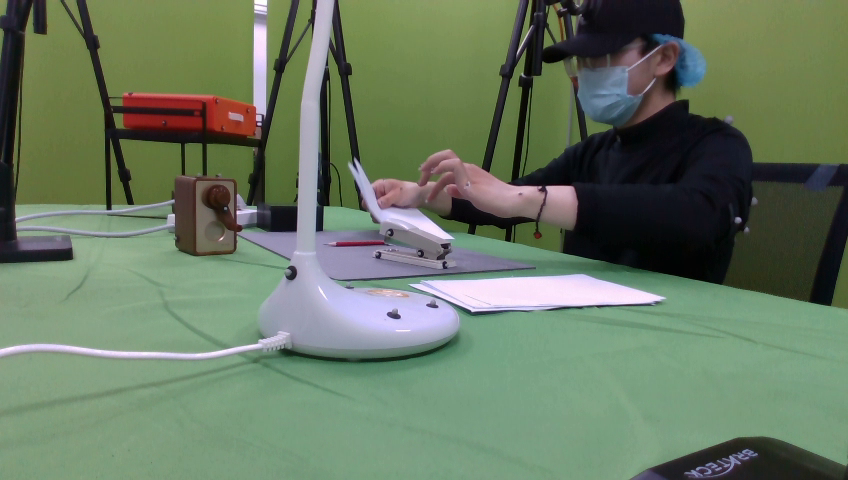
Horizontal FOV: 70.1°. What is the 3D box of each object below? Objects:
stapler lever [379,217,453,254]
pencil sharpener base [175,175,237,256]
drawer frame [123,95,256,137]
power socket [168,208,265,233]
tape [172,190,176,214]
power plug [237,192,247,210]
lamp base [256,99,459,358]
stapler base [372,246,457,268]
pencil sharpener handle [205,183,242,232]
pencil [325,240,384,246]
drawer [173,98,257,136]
[{"bbox_3d":[-0.014,-0.007,0.827,0.117,0.040,0.027,9,12,39],"label":"stapler lever"},{"bbox_3d":[-0.304,-0.036,0.847,0.062,0.107,0.076,-4,10,-42],"label":"pencil sharpener base"},{"bbox_3d":[-0.524,-0.281,1.376,0.213,0.082,0.202,3,8,8],"label":"drawer frame"},{"bbox_3d":[-0.381,-0.038,1.129,0.072,0.032,0.227,4,8,17],"label":"power socket"},{"bbox_3d":[-0.515,-0.087,1.388,0.117,0.052,0.117,3,7,0],"label":"tape"},{"bbox_3d":[-0.386,-0.071,1.204,0.072,0.052,0.035,7,8,26],"label":"power plug"},{"bbox_3d":[-0.055,-0.013,0.463,0.160,0.180,0.180,6,11,27],"label":"lamp base"},{"bbox_3d":[-0.016,0.017,0.831,0.130,0.024,0.041,10,12,39],"label":"stapler base"},{"bbox_3d":[-0.265,-0.043,0.812,0.036,0.068,0.030,-32,28,-35],"label":"pencil sharpener handle"},{"bbox_3d":[-0.066,0.003,0.979,0.195,0.012,0.012,-3,9,-25],"label":"pencil"},{"bbox_3d":[-0.518,-0.279,1.376,0.211,0.073,0.195,3,8,10],"label":"drawer"}]
